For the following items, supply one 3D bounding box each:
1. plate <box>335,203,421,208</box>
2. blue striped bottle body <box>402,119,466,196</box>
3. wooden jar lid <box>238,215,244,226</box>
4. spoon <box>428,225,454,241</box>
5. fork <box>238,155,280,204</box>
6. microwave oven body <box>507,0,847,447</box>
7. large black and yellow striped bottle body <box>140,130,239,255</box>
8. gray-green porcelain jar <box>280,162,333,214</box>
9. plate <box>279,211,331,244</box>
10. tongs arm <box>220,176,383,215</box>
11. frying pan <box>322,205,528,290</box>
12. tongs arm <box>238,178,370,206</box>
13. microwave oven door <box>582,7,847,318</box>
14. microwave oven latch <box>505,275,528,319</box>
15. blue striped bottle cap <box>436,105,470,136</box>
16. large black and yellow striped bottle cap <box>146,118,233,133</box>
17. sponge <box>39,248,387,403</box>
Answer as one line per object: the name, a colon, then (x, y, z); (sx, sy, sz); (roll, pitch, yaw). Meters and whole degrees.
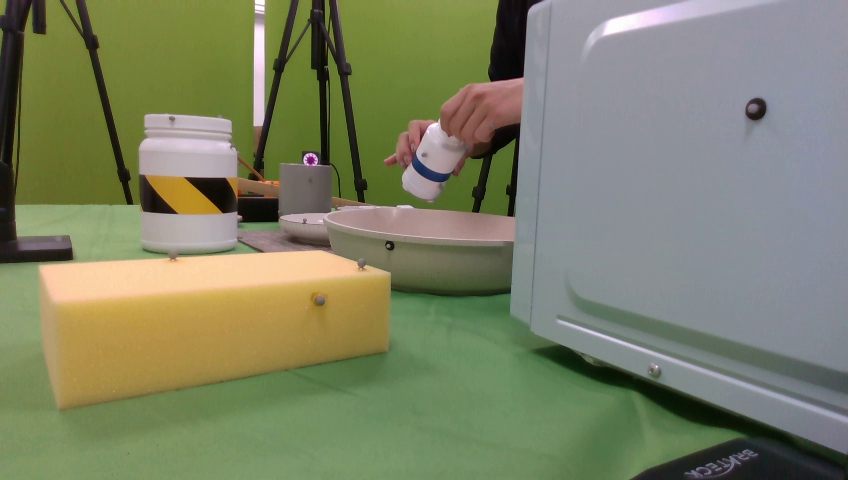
plate: (-0.089, -0.053, 1.309); (0.208, 0.039, 0.207); (2, 8, 0)
blue striped bottle body: (0.018, -0.126, 0.862); (0.063, 0.120, 0.063); (17, 42, -15)
wooden jar lid: (-0.404, -0.037, 1.169); (0.108, 0.020, 0.108); (3, 7, 0)
spoon: (0.024, -0.019, 1.125); (0.042, 0.021, 0.193); (-17, 10, -4)
fork: (-0.396, -0.143, 1.486); (0.028, 0.018, 0.208); (20, -26, 45)
microwave oven body: (0.331, -0.042, 0.425); (0.444, 0.260, 0.324); (-2, 8, -31)
large black and yellow striped bottle body: (-0.336, -0.078, 0.871); (0.131, 0.184, 0.130); (2, 8, 0)
gray-green porcelain jar: (-0.238, -0.092, 1.221); (0.106, 0.126, 0.106); (2, 7, 0)
plate: (-0.139, -0.022, 1.021); (0.209, 0.038, 0.209); (2, 8, 0)
tongs arm: (-0.285, -0.103, 1.445); (0.389, 0.027, 0.028); (9, -4, -23)
frying pan: (0.110, -0.018, 0.800); (0.490, 0.102, 0.305); (-12, 16, -30)
tongs arm: (-0.241, -0.095, 1.373); (0.387, 0.026, 0.050); (9, -1, -37)
microwave oven door: (0.295, -0.067, 0.569); (0.358, 0.243, 0.039); (-3, 8, -31)
microwave oven latch: (0.100, 0.041, 0.471); (0.079, 0.029, 0.030); (-1, 7, -28)
blue striped bottle cap: (0.040, -0.163, 0.825); (0.045, 0.020, 0.044); (21, 37, -17)
large black and yellow striped bottle cap: (-0.333, -0.163, 0.861); (0.115, 0.019, 0.115); (1, 9, 0)
sponge: (-0.142, 0.047, 0.420); (0.208, 0.061, 0.117); (-3, 8, -37)
